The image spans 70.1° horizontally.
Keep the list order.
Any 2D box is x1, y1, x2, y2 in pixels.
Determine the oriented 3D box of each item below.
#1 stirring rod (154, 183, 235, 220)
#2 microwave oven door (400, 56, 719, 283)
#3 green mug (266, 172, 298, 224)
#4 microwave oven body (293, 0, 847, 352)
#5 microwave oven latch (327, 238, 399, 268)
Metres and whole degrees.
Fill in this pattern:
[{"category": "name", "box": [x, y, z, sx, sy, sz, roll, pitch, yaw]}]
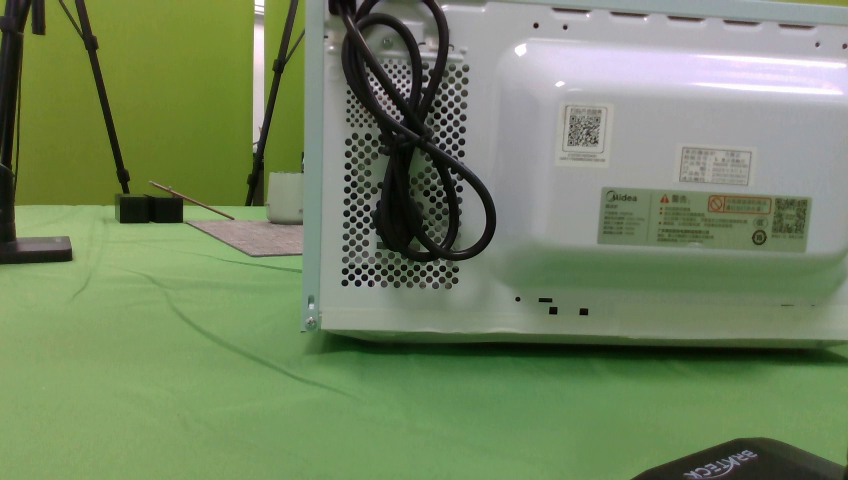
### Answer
[{"category": "stirring rod", "box": [-0.472, -0.079, 1.252, 0.177, 0.006, 0.014, 27, 4, -35]}, {"category": "microwave oven door", "box": [0.155, -0.077, 0.697, 0.356, 0.243, 0.039, 2, 8, -5]}, {"category": "green mug", "box": [-0.272, -0.089, 1.271, 0.092, 0.105, 0.126, 7, 8, 33]}, {"category": "microwave oven body", "box": [0.122, -0.055, 0.550, 0.442, 0.260, 0.325, 3, 7, -5]}, {"category": "microwave oven latch", "box": [-0.069, 0.015, 0.694, 0.079, 0.029, 0.030, 3, 7, -3]}]
